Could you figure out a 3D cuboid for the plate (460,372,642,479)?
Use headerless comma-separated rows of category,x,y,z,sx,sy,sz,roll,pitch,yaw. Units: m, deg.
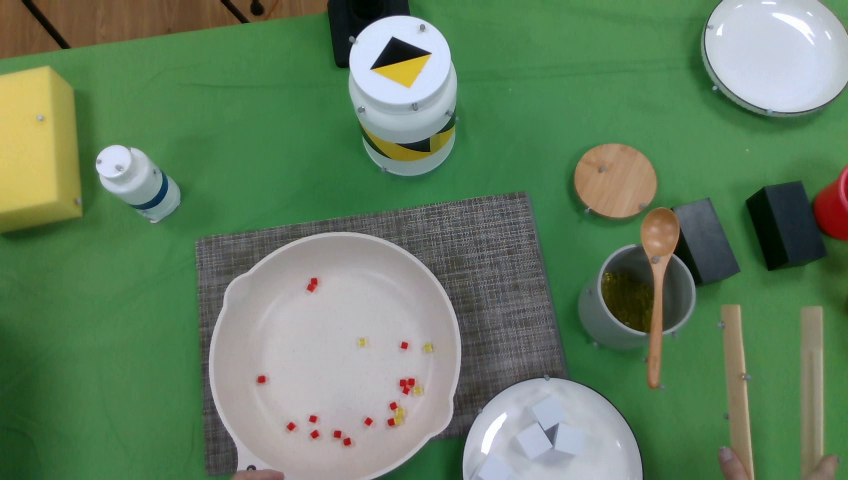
plate,0.146,0.260,0.708,0.208,0.039,0.206,0,75,1

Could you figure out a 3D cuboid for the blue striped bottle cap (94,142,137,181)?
blue striped bottle cap,-0.370,-0.094,0.726,0.044,0.021,0.044,0,75,0

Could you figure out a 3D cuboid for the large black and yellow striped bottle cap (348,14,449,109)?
large black and yellow striped bottle cap,-0.029,-0.203,0.686,0.115,0.019,0.114,0,75,1

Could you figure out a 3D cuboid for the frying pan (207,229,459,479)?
frying pan,-0.160,0.213,0.691,0.306,0.103,0.486,31,68,10

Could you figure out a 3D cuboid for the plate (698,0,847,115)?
plate,0.490,-0.268,0.858,0.209,0.038,0.208,0,73,1

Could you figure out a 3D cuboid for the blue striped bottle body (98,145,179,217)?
blue striped bottle body,-0.368,-0.078,0.775,0.063,0.121,0.062,0,73,1

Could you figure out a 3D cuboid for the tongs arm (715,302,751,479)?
tongs arm,0.338,0.255,0.620,0.051,0.026,0.383,1,84,-25

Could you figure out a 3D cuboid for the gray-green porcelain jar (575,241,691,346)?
gray-green porcelain jar,0.240,0.069,0.719,0.106,0.127,0.105,0,73,1

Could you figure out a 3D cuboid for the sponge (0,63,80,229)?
sponge,-0.549,-0.127,0.823,0.118,0.061,0.205,-13,75,-3

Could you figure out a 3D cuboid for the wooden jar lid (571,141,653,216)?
wooden jar lid,0.252,-0.081,0.818,0.108,0.021,0.108,0,75,1

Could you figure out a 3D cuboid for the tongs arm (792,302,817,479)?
tongs arm,0.400,0.259,0.646,0.028,0.027,0.386,11,80,-27

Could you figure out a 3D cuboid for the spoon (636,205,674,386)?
spoon,0.244,0.057,0.649,0.042,0.022,0.193,8,77,-4

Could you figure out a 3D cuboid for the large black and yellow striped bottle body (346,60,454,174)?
large black and yellow striped bottle body,-0.027,-0.177,0.766,0.131,0.185,0.130,0,73,1
